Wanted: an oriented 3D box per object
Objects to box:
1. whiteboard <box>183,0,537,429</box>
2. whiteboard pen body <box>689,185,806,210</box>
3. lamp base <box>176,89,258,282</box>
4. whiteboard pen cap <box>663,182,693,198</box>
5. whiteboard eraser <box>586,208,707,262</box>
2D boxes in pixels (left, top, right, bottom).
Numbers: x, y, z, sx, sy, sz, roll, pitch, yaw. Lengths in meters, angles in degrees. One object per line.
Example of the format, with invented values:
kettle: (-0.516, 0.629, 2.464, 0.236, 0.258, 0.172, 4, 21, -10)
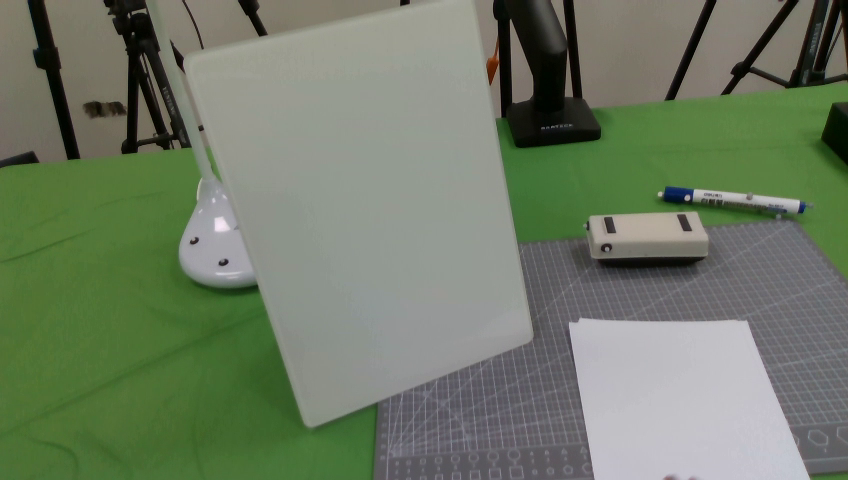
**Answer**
whiteboard: (-0.049, -0.033, 0.540, 0.217, 0.307, 0.142, -18, 19, -13)
whiteboard pen body: (0.352, -0.050, 0.687, 0.140, 0.017, 0.017, 9, 40, 23)
lamp base: (-0.220, -0.070, 0.670, 0.177, 0.182, 0.160, 22, 46, 36)
whiteboard pen cap: (0.298, -0.057, 0.710, 0.033, 0.018, 0.018, 9, 40, 24)
whiteboard eraser: (0.229, -0.005, 0.627, 0.112, 0.042, 0.055, -1, 39, 7)
